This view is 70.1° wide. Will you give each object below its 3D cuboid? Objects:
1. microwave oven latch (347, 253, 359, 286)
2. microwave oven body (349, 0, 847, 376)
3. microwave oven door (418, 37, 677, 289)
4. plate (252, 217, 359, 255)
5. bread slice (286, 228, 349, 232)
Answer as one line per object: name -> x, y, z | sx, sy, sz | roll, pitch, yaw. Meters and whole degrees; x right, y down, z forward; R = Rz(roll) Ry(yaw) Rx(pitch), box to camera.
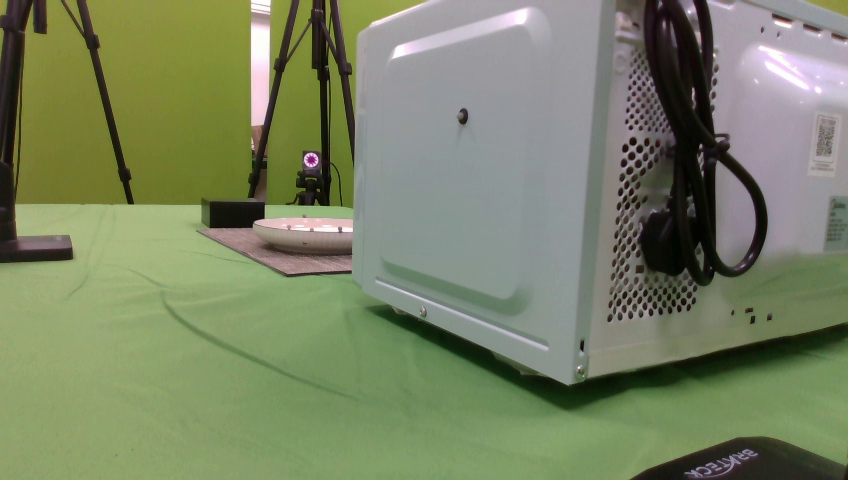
microwave oven latch -> -0.034, 0.028, 0.581 | 0.079, 0.029, 0.030 | -1, 7, -31
microwave oven body -> 0.199, -0.053, 0.540 | 0.444, 0.260, 0.324 | -1, 8, -32
microwave oven door -> 0.159, -0.079, 0.684 | 0.358, 0.243, 0.039 | -2, 9, -32
plate -> -0.155, -0.007, 0.924 | 0.209, 0.038, 0.209 | 3, 7, 0
bread slice -> -0.153, -0.005, 0.921 | 0.132, 0.019, 0.104 | -1, 7, -30
